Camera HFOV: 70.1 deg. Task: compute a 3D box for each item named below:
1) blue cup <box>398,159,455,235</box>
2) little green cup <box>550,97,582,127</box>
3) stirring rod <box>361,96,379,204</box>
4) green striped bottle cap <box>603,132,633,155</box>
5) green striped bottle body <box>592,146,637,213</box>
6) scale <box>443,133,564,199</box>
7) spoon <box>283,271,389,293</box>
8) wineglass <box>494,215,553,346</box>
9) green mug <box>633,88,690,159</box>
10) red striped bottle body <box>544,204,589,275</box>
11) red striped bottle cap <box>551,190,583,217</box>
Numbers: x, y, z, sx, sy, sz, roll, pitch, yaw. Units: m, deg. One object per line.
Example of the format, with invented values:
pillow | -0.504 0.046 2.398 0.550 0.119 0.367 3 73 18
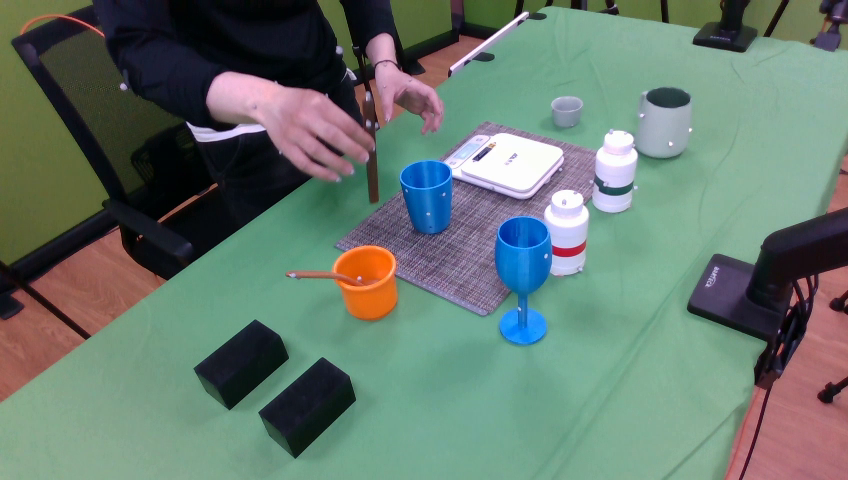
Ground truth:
blue cup | 0.006 -0.065 0.976 0.092 0.100 0.092 -4 39 4
little green cup | 0.284 -0.255 1.213 0.061 0.039 0.061 -5 41 4
stirring rod | -0.067 -0.108 0.757 0.014 0.177 0.005 -18 53 -16
green striped bottle cap | 0.302 -0.149 0.939 0.044 0.020 0.044 -3 40 3
green striped bottle body | 0.307 -0.108 0.976 0.063 0.120 0.063 -4 41 4
scale | 0.137 -0.142 1.101 0.199 0.032 0.149 22 48 30
spoon | -0.116 0.054 0.824 0.041 0.195 0.021 21 92 37
wineglass | 0.127 0.055 0.770 0.074 0.173 0.073 -4 41 4
green mug | 0.423 -0.217 1.099 0.093 0.105 0.124 -16 41 -10
red striped bottle body | 0.206 -0.011 0.877 0.063 0.120 0.062 -5 41 5
red striped bottle cap | 0.200 -0.052 0.843 0.044 0.018 0.044 -3 41 3
